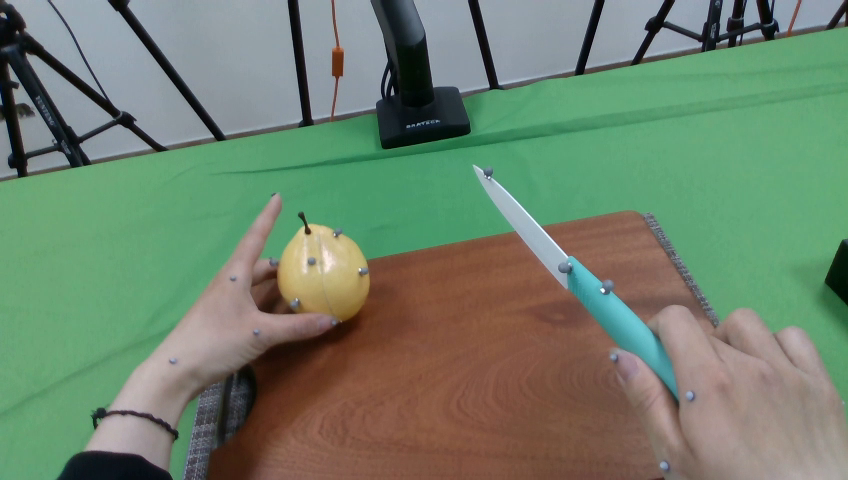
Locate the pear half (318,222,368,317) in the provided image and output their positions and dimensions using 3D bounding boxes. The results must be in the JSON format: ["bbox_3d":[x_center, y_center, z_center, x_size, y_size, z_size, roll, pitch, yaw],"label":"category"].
[{"bbox_3d":[-0.065,0.023,0.517,0.031,0.089,0.070,-7,33,4],"label":"pear half"}]

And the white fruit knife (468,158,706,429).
[{"bbox_3d":[0.087,0.020,0.356,0.016,0.027,0.205,-25,62,-28],"label":"white fruit knife"}]

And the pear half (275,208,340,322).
[{"bbox_3d":[-0.102,0.018,0.515,0.056,0.111,0.075,-7,36,5],"label":"pear half"}]
